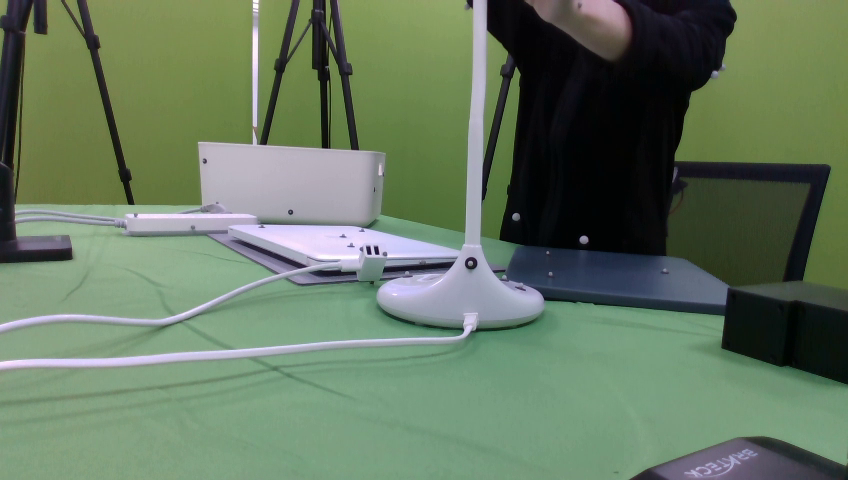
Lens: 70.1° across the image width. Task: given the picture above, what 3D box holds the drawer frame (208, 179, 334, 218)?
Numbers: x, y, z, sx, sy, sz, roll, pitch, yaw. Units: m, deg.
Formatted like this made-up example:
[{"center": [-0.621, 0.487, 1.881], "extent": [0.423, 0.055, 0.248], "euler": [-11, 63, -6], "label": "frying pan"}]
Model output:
[{"center": [-0.327, -0.093, 1.328], "extent": [0.213, 0.082, 0.202], "euler": [0, 5, 6], "label": "drawer frame"}]

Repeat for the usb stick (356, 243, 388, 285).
[{"center": [-0.058, 0.029, 0.658], "extent": [0.027, 0.059, 0.021], "euler": [-5, 52, -18], "label": "usb stick"}]

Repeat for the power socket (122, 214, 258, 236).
[{"center": [-0.399, -0.028, 1.049], "extent": [0.228, 0.032, 0.072], "euler": [-3, 8, -34], "label": "power socket"}]

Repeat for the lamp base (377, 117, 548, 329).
[{"center": [0.041, -0.019, 0.551], "extent": [0.161, 0.180, 0.179], "euler": [1, 10, -10], "label": "lamp base"}]

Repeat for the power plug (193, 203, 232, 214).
[{"center": [-0.393, -0.042, 1.139], "extent": [0.072, 0.052, 0.035], "euler": [-14, 1, 31], "label": "power plug"}]

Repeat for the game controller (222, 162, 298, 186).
[{"center": [-0.357, -0.143, 1.321], "extent": [0.156, 0.051, 0.097], "euler": [1, 2, -16], "label": "game controller"}]

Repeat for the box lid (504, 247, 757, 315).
[{"center": [0.244, 0.044, 0.793], "extent": [0.263, 0.015, 0.372], "euler": [4, 7, 11], "label": "box lid"}]

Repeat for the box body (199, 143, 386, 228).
[{"center": [-0.276, -0.124, 1.335], "extent": [0.364, 0.160, 0.254], "euler": [3, 7, 1], "label": "box body"}]

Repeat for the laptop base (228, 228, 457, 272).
[{"center": [-0.122, 0.012, 0.889], "extent": [0.237, 0.023, 0.352], "euler": [2, 6, -35], "label": "laptop base"}]

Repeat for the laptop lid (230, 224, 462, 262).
[{"center": [-0.120, 0.000, 0.889], "extent": [0.243, 0.013, 0.355], "euler": [1, 7, -33], "label": "laptop lid"}]

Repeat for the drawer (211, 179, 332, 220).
[{"center": [-0.328, -0.095, 1.332], "extent": [0.212, 0.073, 0.194], "euler": [5, 8, 6], "label": "drawer"}]
